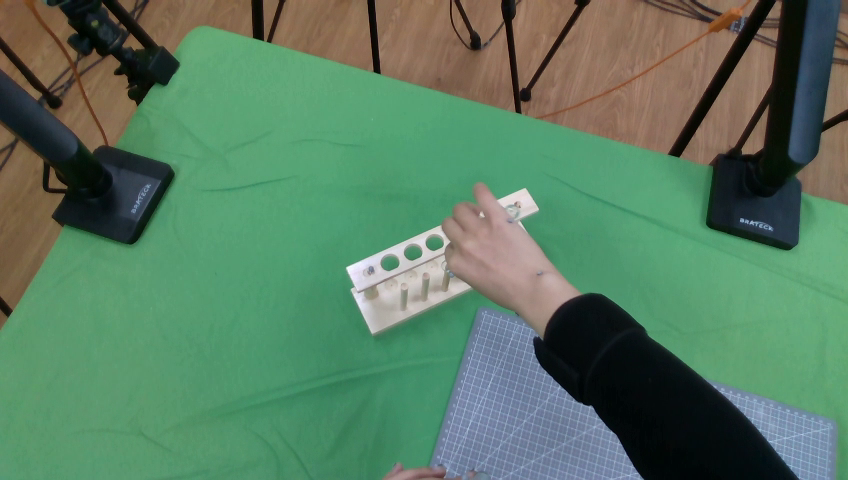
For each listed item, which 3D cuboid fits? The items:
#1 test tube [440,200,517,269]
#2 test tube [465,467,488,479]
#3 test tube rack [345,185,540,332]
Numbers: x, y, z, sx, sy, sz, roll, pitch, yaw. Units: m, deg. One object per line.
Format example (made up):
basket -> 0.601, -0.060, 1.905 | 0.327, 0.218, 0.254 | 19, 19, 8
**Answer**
test tube -> 0.054, -0.003, 0.636 | 0.017, 0.151, 0.017 | 11, 61, -21
test tube -> 0.038, 0.219, 0.523 | 0.017, 0.151, 0.017 | 2, 58, -2
test tube rack -> 0.030, 0.023, 0.746 | 0.242, 0.086, 0.066 | -24, 70, -12
